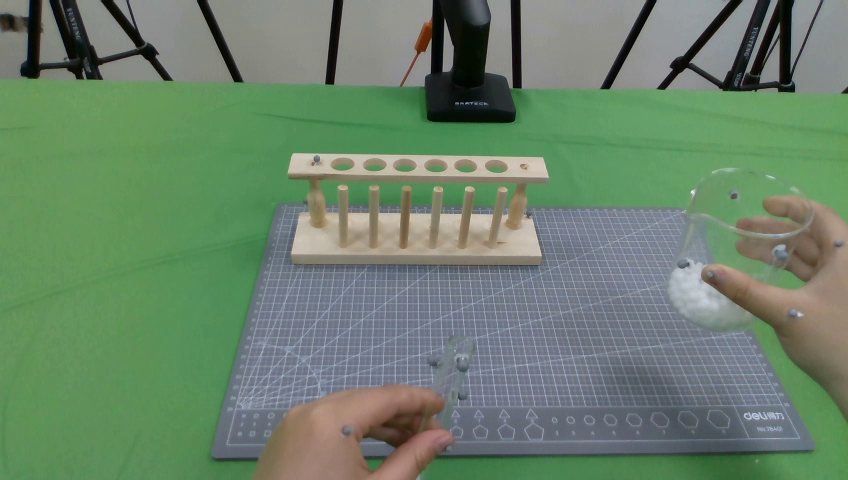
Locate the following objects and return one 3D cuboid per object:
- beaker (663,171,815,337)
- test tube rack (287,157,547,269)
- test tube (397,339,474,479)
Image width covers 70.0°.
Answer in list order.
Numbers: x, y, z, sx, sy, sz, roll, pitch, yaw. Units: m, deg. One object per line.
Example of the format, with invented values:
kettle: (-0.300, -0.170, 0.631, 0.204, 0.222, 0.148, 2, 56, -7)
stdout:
beaker: (0.214, 0.014, 0.431, 0.084, 0.101, 0.073, -5, 41, -3)
test tube rack: (-0.007, -0.025, 0.587, 0.242, 0.086, 0.066, 1, 41, -3)
test tube: (0.001, 0.119, 0.354, 0.017, 0.151, 0.017, 13, 29, -7)
